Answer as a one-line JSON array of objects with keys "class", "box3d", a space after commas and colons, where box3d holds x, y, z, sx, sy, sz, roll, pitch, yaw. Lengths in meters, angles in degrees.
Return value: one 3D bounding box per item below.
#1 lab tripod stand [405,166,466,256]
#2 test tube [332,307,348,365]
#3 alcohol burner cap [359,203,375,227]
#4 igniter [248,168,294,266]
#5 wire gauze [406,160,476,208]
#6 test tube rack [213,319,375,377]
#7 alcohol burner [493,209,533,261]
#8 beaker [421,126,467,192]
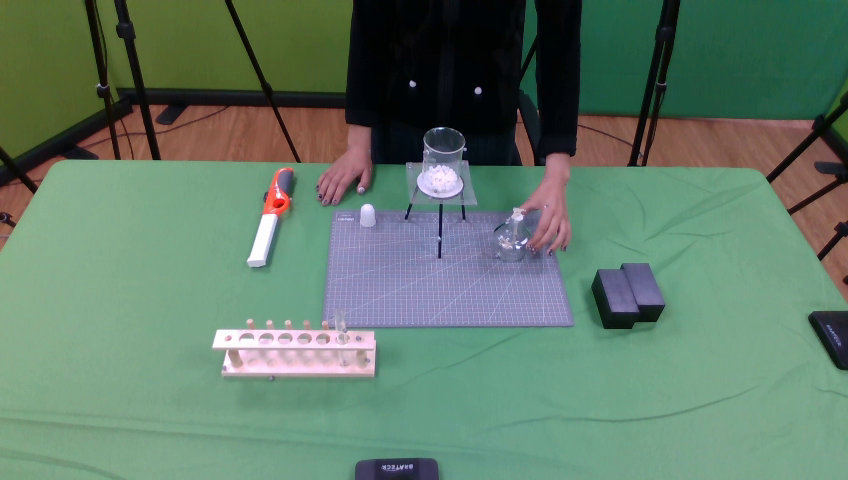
[{"class": "lab tripod stand", "box3d": [0.030, -0.063, 1.180, 0.148, 0.132, 0.147, 3, 47, -3]}, {"class": "test tube", "box3d": [-0.128, 0.151, 0.931, 0.017, 0.151, 0.017, 1, 50, -2]}, {"class": "alcohol burner cap", "box3d": [-0.115, -0.053, 1.224, 0.034, 0.048, 0.033, 3, 47, -3]}, {"class": "igniter", "box3d": [-0.307, -0.055, 1.225, 0.057, 0.025, 0.275, -3, 45, 6]}, {"class": "wire gauze", "box3d": [0.031, -0.107, 1.130, 0.125, 0.011, 0.120, 1, 48, -7]}, {"class": "test tube rack", "box3d": [-0.202, 0.170, 0.977, 0.242, 0.085, 0.066, 1, 46, -3]}, {"class": "alcohol burner", "box3d": [0.172, -0.016, 1.159, 0.078, 0.120, 0.077, 2, 48, -2]}, {"class": "beaker", "box3d": [0.032, -0.146, 1.100, 0.074, 0.101, 0.083, -16, 50, -20]}]
